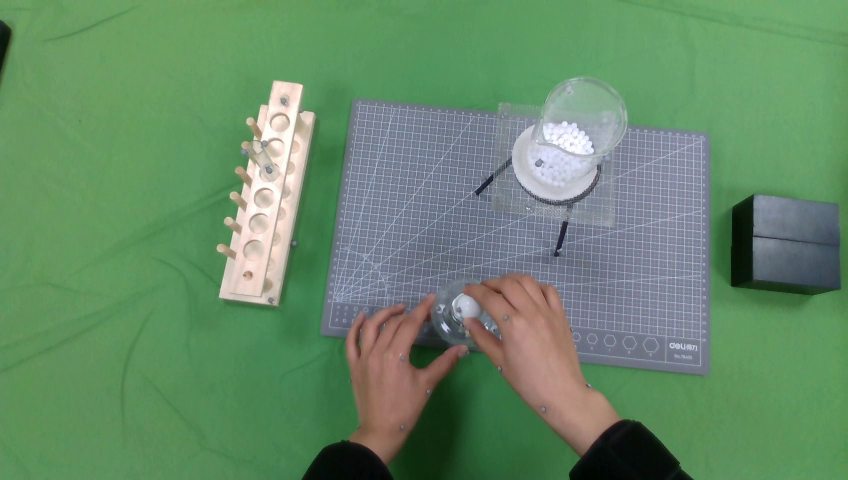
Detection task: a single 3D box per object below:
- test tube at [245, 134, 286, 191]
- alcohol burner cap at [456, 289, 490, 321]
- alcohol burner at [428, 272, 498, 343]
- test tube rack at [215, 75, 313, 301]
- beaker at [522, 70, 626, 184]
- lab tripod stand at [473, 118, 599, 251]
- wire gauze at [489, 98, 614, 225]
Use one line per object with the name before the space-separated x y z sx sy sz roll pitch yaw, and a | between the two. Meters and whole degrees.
test tube | -0.166 -0.079 0.645 0.017 0.150 0.017 1 79 -3
alcohol burner cap | 0.048 0.067 0.613 0.034 0.048 0.034 0 88 13
alcohol burner | 0.044 0.071 0.652 0.078 0.119 0.077 1 78 -3
test tube rack | -0.188 -0.059 0.691 0.067 0.085 0.241 8 78 1
beaker | 0.131 -0.097 0.563 0.084 0.100 0.073 -27 79 -7
lab tripod stand | 0.133 -0.071 0.674 0.148 0.132 0.147 0 76 0
wire gauze | 0.129 -0.082 0.609 0.125 0.011 0.121 7 78 -2
